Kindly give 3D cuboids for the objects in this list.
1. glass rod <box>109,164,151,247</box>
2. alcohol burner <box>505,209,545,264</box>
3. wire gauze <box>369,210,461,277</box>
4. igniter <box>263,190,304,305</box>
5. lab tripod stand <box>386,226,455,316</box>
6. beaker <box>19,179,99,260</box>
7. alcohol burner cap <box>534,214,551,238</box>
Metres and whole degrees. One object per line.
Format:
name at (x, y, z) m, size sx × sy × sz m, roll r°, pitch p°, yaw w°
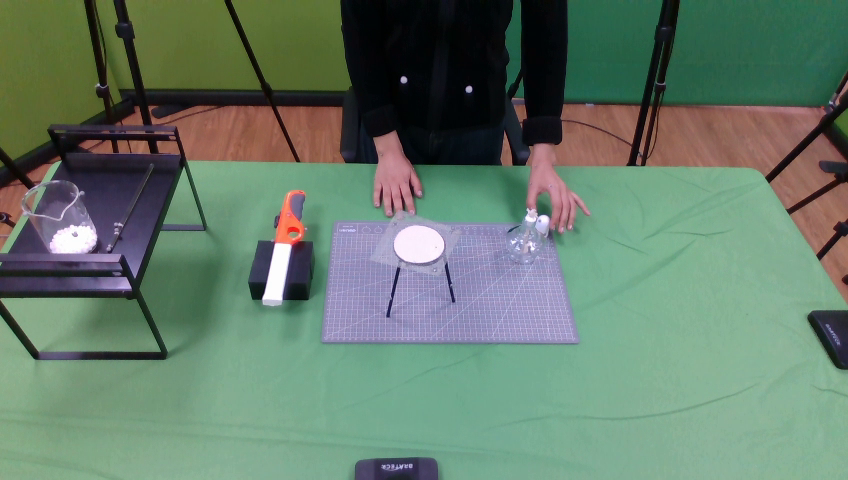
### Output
glass rod at (-0.473, -0.061, 0.979) m, size 0.008 × 0.008 × 0.198 m, roll 1°, pitch 46°, yaw -3°
alcohol burner at (0.196, -0.013, 1.158) m, size 0.078 × 0.120 × 0.077 m, roll 1°, pitch 44°, yaw -1°
wire gauze at (-0.013, 0.005, 1.017) m, size 0.121 × 0.011 × 0.124 m, roll 17°, pitch 49°, yaw 12°
igniter at (-0.255, 0.004, 1.107) m, size 0.057 × 0.025 × 0.274 m, roll 6°, pitch 46°, yaw -7°
lab tripod stand at (-0.013, 0.054, 1.064) m, size 0.148 × 0.132 × 0.147 m, roll 2°, pitch 48°, yaw -2°
beaker at (-0.522, -0.024, 0.878) m, size 0.074 × 0.101 × 0.083 m, roll -26°, pitch 54°, yaw -25°
alcohol burner cap at (0.242, -0.031, 1.227) m, size 0.034 × 0.048 × 0.033 m, roll 0°, pitch 45°, yaw 0°
